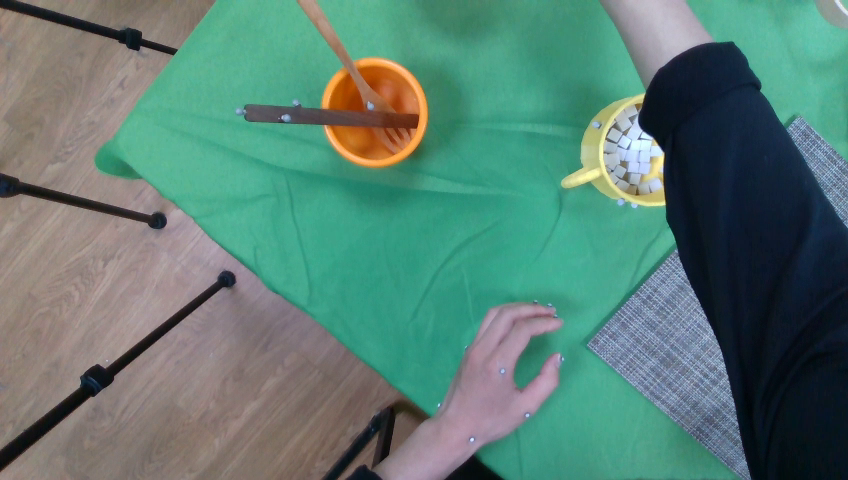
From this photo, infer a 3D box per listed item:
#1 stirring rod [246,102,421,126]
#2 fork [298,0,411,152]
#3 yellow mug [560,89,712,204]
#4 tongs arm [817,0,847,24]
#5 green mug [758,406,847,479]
[{"bbox_3d":[-0.070,-0.108,0.522,0.177,0.006,0.014,-7,102,-41],"label":"stirring rod"},{"bbox_3d":[-0.063,-0.148,0.509,0.028,0.018,0.209,-33,140,3],"label":"fork"},{"bbox_3d":[0.188,-0.080,0.561,0.131,0.064,0.100,-24,98,5],"label":"yellow mug"},{"bbox_3d":[0.294,-0.362,0.499,0.051,0.026,0.385,-21,96,0],"label":"tongs arm"},{"bbox_3d":[0.402,0.210,0.581,0.125,0.104,0.093,-32,96,5],"label":"green mug"}]
